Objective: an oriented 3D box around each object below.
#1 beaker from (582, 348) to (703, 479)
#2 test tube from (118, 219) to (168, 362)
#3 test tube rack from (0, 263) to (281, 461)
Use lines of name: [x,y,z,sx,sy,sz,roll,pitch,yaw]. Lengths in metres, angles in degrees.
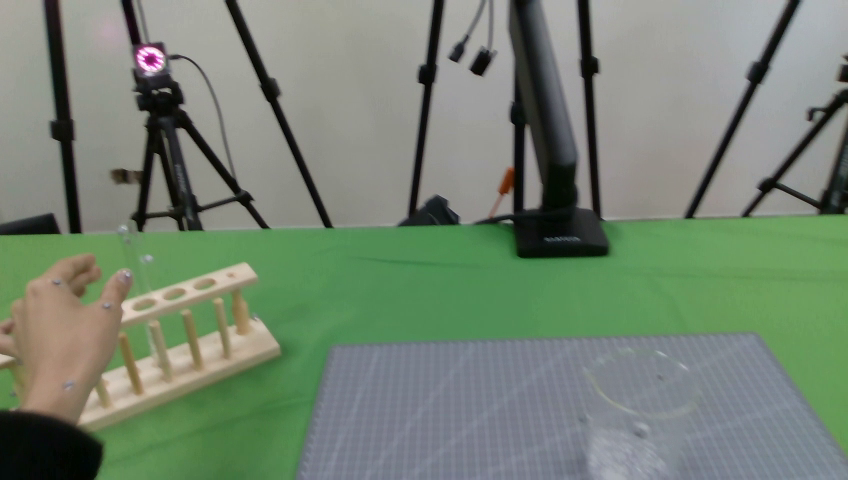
beaker: [0.161,0.144,0.463,0.083,0.101,0.074,9,32,23]
test tube: [-0.269,0.052,0.586,0.017,0.151,0.017,-3,22,2]
test tube rack: [-0.272,0.109,0.588,0.243,0.086,0.066,-20,33,-28]
